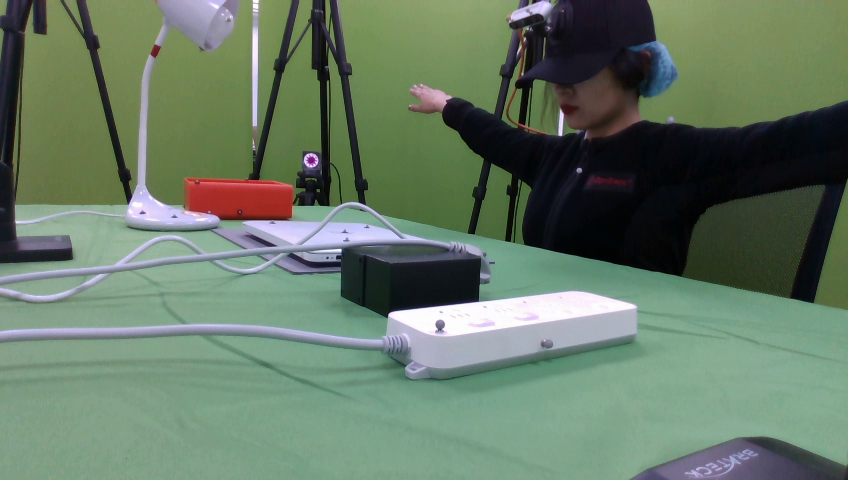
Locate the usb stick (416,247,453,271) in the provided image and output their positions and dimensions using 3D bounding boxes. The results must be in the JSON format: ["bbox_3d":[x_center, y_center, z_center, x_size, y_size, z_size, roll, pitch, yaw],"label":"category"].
[{"bbox_3d":[0.010,0.024,0.755,0.027,0.021,0.059,38,-18,-17],"label":"usb stick"}]

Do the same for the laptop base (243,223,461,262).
[{"bbox_3d":[-0.126,0.002,0.946,0.237,0.023,0.352,2,6,-31],"label":"laptop base"}]

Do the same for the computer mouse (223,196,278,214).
[{"bbox_3d":[-0.392,-0.079,1.368,0.118,0.041,0.062,-3,7,-24],"label":"computer mouse"}]

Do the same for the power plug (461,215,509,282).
[{"bbox_3d":[0.064,0.012,0.625,0.053,0.072,0.035,-2,39,-4],"label":"power plug"}]

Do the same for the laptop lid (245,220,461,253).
[{"bbox_3d":[-0.124,-0.009,0.945,0.243,0.013,0.355,1,7,-29],"label":"laptop lid"}]

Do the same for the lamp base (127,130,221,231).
[{"bbox_3d":[-0.469,-0.112,1.108,0.179,0.180,0.160,0,7,3],"label":"lamp base"}]

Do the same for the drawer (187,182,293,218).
[{"bbox_3d":[-0.418,-0.093,1.371,0.213,0.073,0.193,-2,9,-24],"label":"drawer"}]

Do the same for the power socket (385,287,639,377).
[{"bbox_3d":[0.074,0.064,0.462,0.228,0.032,0.072,-3,8,-34],"label":"power socket"}]

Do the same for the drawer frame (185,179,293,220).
[{"bbox_3d":[-0.420,-0.094,1.369,0.214,0.082,0.200,-2,9,-25],"label":"drawer frame"}]

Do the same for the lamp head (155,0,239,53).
[{"bbox_3d":[-0.406,-0.402,1.059,0.123,0.112,0.112,25,5,-6],"label":"lamp head"}]
